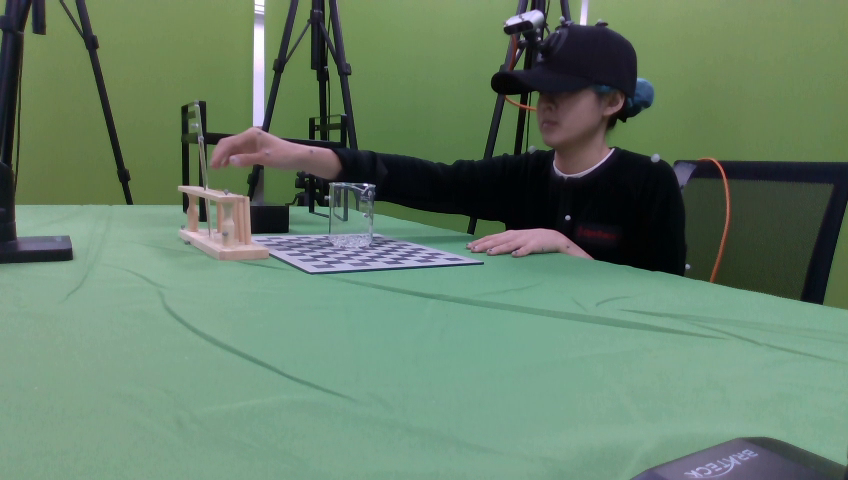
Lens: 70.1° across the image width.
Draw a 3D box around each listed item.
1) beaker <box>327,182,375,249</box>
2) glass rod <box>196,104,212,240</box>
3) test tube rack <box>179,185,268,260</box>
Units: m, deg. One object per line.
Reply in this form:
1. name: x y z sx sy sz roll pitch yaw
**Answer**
1. beaker: -0.114 -0.039 0.950 0.074 0.100 0.083 -2 9 -31
2. glass rod: -0.318 -0.095 0.871 0.008 0.199 0.008 -4 4 1
3. test tube rack: -0.303 -0.031 0.898 0.067 0.085 0.241 -2 9 -33
